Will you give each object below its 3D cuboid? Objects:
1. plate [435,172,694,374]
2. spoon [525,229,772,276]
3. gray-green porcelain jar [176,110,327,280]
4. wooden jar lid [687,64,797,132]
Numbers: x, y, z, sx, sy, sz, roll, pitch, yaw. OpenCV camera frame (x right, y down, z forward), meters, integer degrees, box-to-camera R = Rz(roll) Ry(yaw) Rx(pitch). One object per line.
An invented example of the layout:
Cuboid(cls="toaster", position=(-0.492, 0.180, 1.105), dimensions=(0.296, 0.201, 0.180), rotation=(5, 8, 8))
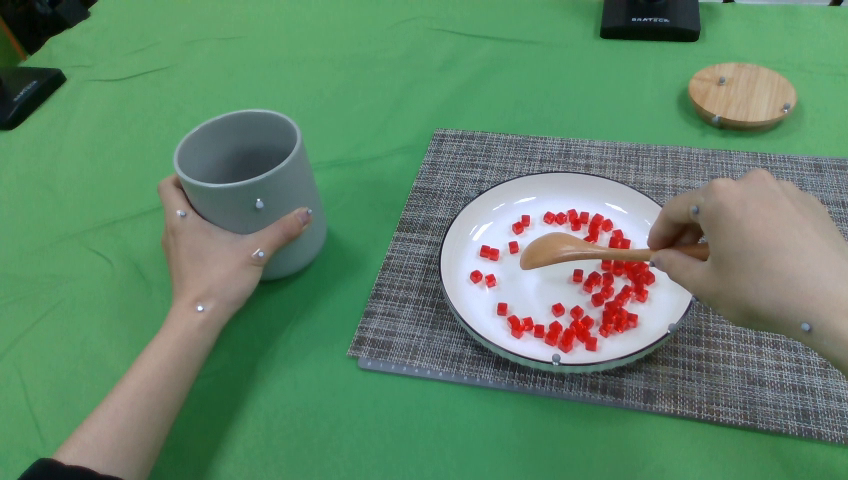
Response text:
Cuboid(cls="plate", position=(0.114, 0.026, 0.512), dimensions=(0.207, 0.039, 0.205), rotation=(-4, 49, 5))
Cuboid(cls="spoon", position=(0.147, 0.012, 0.435), dimensions=(0.192, 0.022, 0.041), rotation=(4, 62, 47))
Cuboid(cls="gray-green porcelain jar", position=(-0.147, -0.035, 0.545), dimensions=(0.106, 0.128, 0.105), rotation=(-3, 46, 3))
Cuboid(cls="wooden jar lid", position=(0.342, -0.153, 0.656), dimensions=(0.108, 0.021, 0.107), rotation=(-3, 50, 4))
